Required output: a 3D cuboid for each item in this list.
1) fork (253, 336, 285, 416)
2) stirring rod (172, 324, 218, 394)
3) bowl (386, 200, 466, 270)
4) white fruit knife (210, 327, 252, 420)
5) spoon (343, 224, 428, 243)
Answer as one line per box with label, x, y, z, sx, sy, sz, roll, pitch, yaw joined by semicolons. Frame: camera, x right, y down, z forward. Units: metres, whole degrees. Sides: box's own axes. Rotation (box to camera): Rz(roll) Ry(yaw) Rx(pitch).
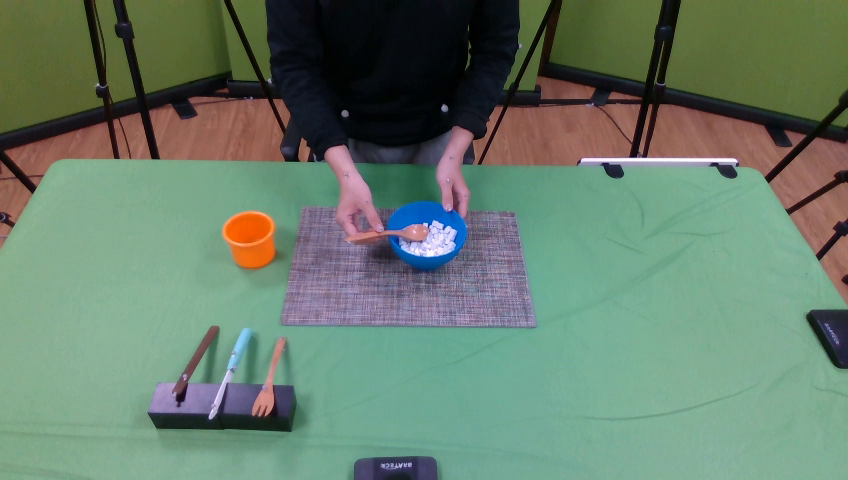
fork;-0.235;0.206;0.938;0.028;0.019;0.206;-2;26;-3
stirring rod;-0.361;0.185;0.962;0.014;0.006;0.175;2;26;0
bowl;0.001;0.004;1.150;0.151;0.077;0.150;2;46;-2
white fruit knife;-0.298;0.200;0.937;0.016;0.027;0.206;0;30;0
spoon;-0.068;-0.011;1.102;0.194;0.022;0.041;-4;46;-44
